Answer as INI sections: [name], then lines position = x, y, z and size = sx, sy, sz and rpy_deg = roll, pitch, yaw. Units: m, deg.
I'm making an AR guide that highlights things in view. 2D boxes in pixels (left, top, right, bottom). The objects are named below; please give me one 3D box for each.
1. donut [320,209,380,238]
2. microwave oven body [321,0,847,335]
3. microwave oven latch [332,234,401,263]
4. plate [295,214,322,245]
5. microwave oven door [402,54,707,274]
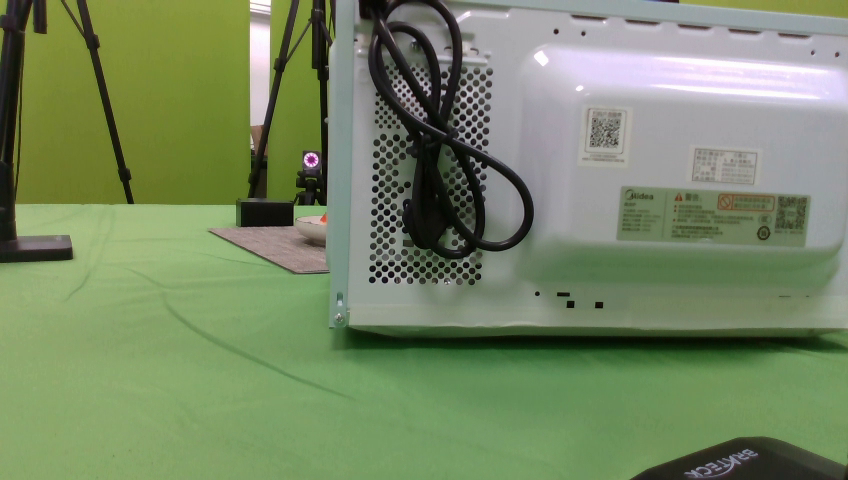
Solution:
[donut]
position = -0.121, -0.027, 0.996
size = 0.099, 0.048, 0.099
rpy_deg = 2, 4, 0
[microwave oven body]
position = 0.133, -0.062, 0.568
size = 0.443, 0.260, 0.325
rpy_deg = 2, 7, -8
[microwave oven latch]
position = -0.066, 0.010, 0.701
size = 0.079, 0.029, 0.030
rpy_deg = 2, 7, -8
[plate]
position = -0.107, -0.016, 0.997
size = 0.209, 0.038, 0.209
rpy_deg = 2, 7, 0
[microwave oven door]
position = 0.157, -0.085, 0.717
size = 0.357, 0.243, 0.039
rpy_deg = 1, 8, -8
